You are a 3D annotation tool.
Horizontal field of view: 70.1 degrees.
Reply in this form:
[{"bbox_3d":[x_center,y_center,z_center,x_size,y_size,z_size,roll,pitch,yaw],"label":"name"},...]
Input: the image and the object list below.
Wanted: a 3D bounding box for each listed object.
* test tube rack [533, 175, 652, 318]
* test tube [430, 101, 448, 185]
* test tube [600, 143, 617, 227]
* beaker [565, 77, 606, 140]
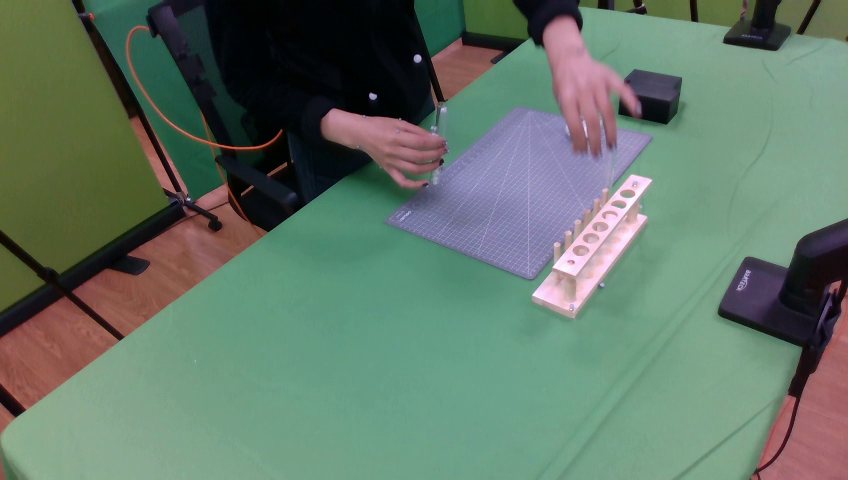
[{"bbox_3d":[0.251,-0.001,0.888,0.066,0.085,0.243,23,49,32],"label":"test tube rack"},{"bbox_3d":[0.022,-0.147,0.944,0.017,0.151,0.017,3,42,-3],"label":"test tube"},{"bbox_3d":[0.275,-0.080,0.907,0.017,0.151,0.017,-5,41,5],"label":"test tube"},{"bbox_3d":[0.305,-0.247,1.153,0.073,0.101,0.084,15,47,27],"label":"beaker"}]
